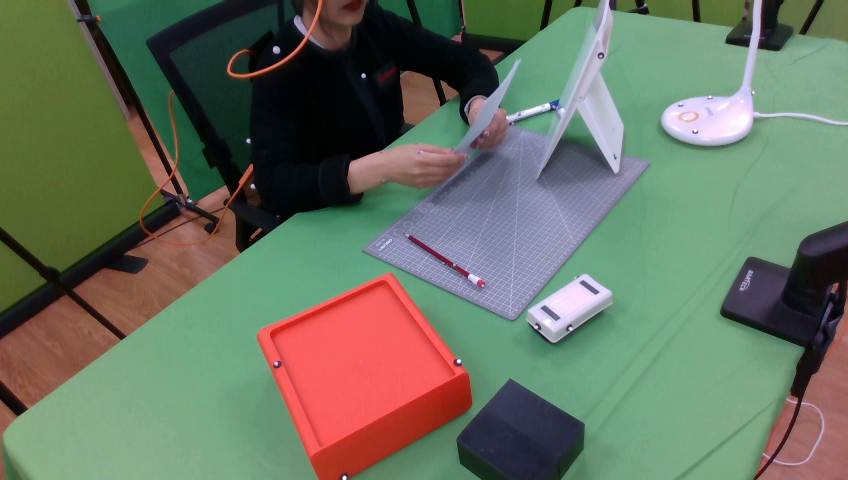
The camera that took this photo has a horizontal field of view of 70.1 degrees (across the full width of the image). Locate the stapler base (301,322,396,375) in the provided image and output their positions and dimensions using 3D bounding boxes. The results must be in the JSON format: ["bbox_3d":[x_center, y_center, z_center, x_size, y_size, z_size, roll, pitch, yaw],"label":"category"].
[{"bbox_3d":[-0.103,0.139,0.815,0.131,0.024,0.041,-20,38,-12],"label":"stapler base"}]

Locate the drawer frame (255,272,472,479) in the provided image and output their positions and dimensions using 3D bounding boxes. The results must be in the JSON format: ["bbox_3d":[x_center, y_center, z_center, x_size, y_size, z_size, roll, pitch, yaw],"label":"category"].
[{"bbox_3d":[-0.079,0.161,0.760,0.202,0.083,0.211,-24,43,-18],"label":"drawer frame"}]

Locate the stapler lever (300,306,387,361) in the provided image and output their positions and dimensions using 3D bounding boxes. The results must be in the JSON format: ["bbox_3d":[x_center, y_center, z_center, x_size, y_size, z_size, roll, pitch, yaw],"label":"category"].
[{"bbox_3d":[-0.107,0.122,0.799,0.118,0.040,0.026,-18,38,-13],"label":"stapler lever"}]

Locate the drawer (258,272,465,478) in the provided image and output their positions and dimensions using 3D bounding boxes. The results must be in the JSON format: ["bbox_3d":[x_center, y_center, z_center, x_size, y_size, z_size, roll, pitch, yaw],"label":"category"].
[{"bbox_3d":[-0.081,0.160,0.764,0.195,0.073,0.210,-23,43,-17],"label":"drawer"}]

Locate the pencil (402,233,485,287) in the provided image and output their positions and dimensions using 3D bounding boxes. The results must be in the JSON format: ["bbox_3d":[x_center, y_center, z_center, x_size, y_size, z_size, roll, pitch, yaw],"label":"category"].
[{"bbox_3d":[0.026,0.027,0.949,0.012,0.012,0.192,-34,44,-26],"label":"pencil"}]

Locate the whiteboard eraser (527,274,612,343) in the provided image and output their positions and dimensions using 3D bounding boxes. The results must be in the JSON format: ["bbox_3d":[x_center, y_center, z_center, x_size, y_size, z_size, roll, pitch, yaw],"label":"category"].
[{"bbox_3d":[0.198,0.094,0.820,0.113,0.042,0.055,-29,43,-22],"label":"whiteboard eraser"}]

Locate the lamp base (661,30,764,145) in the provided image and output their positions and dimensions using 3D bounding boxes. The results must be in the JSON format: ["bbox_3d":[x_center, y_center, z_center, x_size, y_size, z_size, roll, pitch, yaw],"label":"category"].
[{"bbox_3d":[0.535,-0.287,1.096,0.179,0.181,0.159,-10,40,-4],"label":"lamp base"}]

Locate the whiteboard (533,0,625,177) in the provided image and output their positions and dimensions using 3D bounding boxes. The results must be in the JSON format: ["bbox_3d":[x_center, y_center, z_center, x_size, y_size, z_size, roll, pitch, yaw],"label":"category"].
[{"bbox_3d":[0.321,-0.258,1.049,0.144,0.306,0.217,20,45,4],"label":"whiteboard"}]

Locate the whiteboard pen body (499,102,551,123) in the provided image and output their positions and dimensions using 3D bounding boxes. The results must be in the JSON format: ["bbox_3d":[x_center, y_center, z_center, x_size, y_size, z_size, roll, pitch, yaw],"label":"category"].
[{"bbox_3d":[0.221,-0.268,1.257,0.141,0.017,0.017,-19,41,-13],"label":"whiteboard pen body"}]

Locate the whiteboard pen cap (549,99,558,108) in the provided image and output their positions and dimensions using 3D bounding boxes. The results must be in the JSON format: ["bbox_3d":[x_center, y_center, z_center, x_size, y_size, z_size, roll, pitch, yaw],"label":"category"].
[{"bbox_3d":[0.275,-0.287,1.269,0.033,0.018,0.018,-18,41,-13],"label":"whiteboard pen cap"}]
